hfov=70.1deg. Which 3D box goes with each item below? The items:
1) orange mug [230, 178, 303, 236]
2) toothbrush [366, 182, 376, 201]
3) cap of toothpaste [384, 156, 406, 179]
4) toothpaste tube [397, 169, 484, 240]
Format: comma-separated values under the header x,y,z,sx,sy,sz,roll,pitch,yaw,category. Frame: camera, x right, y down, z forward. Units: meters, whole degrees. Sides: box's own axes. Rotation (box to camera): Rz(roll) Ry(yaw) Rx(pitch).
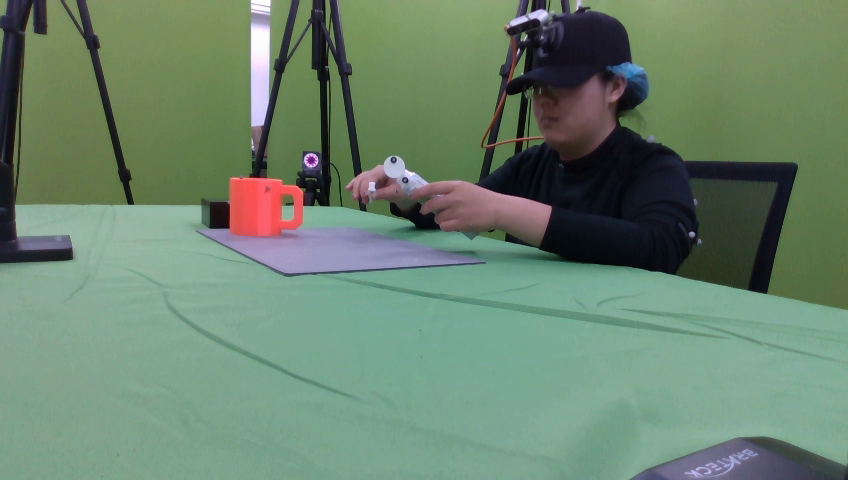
x,y,z,sx,sy,sz,roll,pitch,yaw,category
-0.275,-0.060,1.058,0.126,0.101,0.083,-2,8,-5,orange mug
-0.096,-0.084,1.077,0.014,0.016,0.181,-6,-1,-7,toothbrush
-0.045,-0.114,0.945,0.037,0.037,0.011,0,13,-17,cap of toothpaste
0.023,-0.060,0.972,0.165,0.034,0.055,38,-23,-4,toothpaste tube
